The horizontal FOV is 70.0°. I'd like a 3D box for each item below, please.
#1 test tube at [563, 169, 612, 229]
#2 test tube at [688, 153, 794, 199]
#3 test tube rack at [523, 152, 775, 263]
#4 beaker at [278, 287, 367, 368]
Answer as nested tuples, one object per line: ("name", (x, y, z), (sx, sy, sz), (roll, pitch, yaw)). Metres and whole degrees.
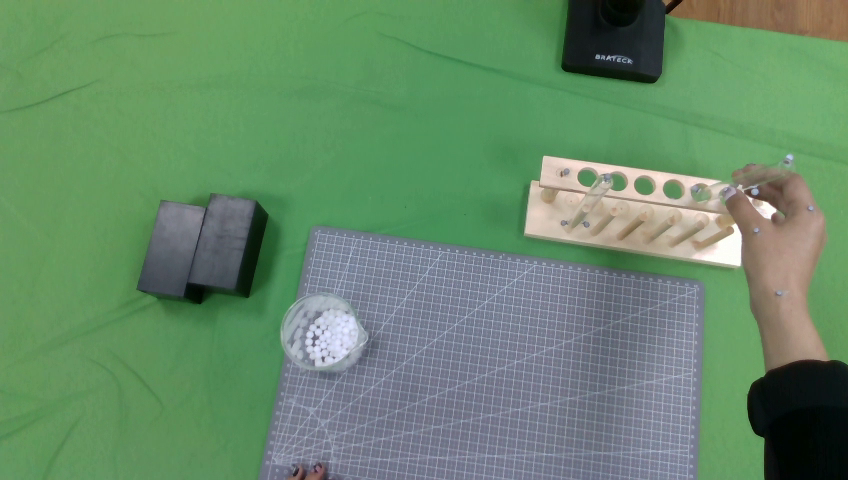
("test tube", (0.165, -0.039, 0.617), (0.017, 0.151, 0.017), (0, 75, 1))
("test tube", (0.293, -0.056, 0.580), (0.017, 0.150, 0.017), (1, 82, -9))
("test tube rack", (0.238, -0.033, 0.662), (0.242, 0.085, 0.066), (9, 76, 2))
("beaker", (-0.096, 0.094, 0.618), (0.084, 0.100, 0.073), (8, 76, 1))
